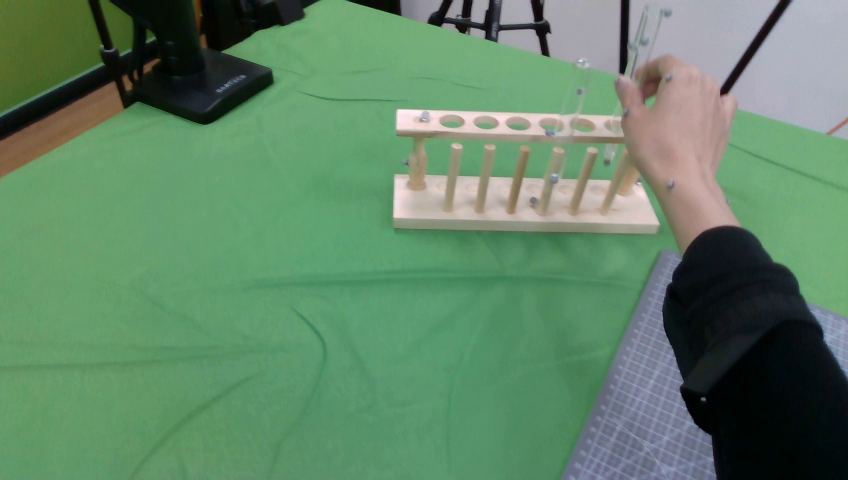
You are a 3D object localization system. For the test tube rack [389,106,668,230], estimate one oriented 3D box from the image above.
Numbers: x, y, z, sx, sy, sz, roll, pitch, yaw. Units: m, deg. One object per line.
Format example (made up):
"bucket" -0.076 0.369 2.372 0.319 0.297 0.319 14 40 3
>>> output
"test tube rack" 0.090 -0.064 0.548 0.243 0.086 0.066 1 44 -4

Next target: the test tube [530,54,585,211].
"test tube" 0.110 -0.084 0.506 0.017 0.152 0.017 3 44 -3

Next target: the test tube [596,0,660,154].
"test tube" 0.165 -0.128 0.502 0.017 0.151 0.017 0 52 0
